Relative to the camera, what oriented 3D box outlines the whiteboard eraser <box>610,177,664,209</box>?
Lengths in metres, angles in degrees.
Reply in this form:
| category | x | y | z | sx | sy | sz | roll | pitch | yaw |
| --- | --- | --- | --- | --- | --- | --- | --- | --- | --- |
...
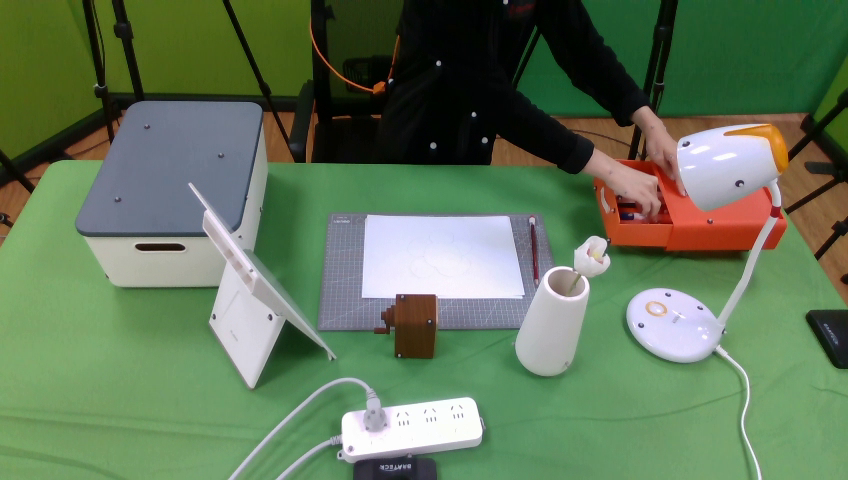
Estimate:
| category | x | y | z | sx | sy | sz | roll | pitch | yaw |
| --- | --- | --- | --- | --- | --- | --- | --- | --- | --- |
| whiteboard eraser | 0.434 | -0.095 | 1.241 | 0.113 | 0.042 | 0.055 | 8 | 48 | -6 |

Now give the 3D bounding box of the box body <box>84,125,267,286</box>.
| category | x | y | z | sx | sy | sz | roll | pitch | yaw |
| --- | --- | --- | --- | --- | --- | --- | --- | --- | --- |
| box body | -0.446 | -0.088 | 1.150 | 0.254 | 0.161 | 0.361 | -1 | 46 | -5 |

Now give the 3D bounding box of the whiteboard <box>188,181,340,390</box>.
| category | x | y | z | sx | sy | sz | roll | pitch | yaw |
| --- | --- | --- | --- | --- | --- | --- | --- | --- | --- |
| whiteboard | -0.292 | 0.096 | 0.929 | 0.144 | 0.307 | 0.216 | -38 | 57 | -10 |

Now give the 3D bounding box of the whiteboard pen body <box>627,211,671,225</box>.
| category | x | y | z | sx | sy | sz | roll | pitch | yaw |
| --- | --- | --- | --- | --- | --- | --- | --- | --- | --- |
| whiteboard pen body | 0.443 | -0.042 | 1.188 | 0.141 | 0.017 | 0.017 | 11 | 39 | -33 |

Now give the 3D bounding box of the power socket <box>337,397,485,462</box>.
| category | x | y | z | sx | sy | sz | roll | pitch | yaw |
| --- | --- | --- | --- | --- | --- | --- | --- | --- | --- |
| power socket | -0.018 | 0.285 | 0.915 | 0.227 | 0.033 | 0.071 | -5 | 46 | -8 |

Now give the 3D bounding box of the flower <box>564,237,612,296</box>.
| category | x | y | z | sx | sy | sz | roll | pitch | yaw |
| --- | --- | --- | --- | --- | --- | --- | --- | --- | --- |
| flower | 0.206 | 0.088 | 0.893 | 0.038 | 0.363 | 0.044 | -16 | 67 | -9 |

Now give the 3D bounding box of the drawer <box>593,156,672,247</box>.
| category | x | y | z | sx | sy | sz | roll | pitch | yaw |
| --- | --- | --- | --- | --- | --- | --- | --- | --- | --- |
| drawer | 0.460 | -0.076 | 1.208 | 0.212 | 0.073 | 0.193 | 3 | 46 | -3 |

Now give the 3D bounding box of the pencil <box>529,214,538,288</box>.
| category | x | y | z | sx | sy | sz | roll | pitch | yaw |
| --- | --- | --- | --- | --- | --- | --- | --- | --- | --- |
| pencil | 0.219 | 0.019 | 1.202 | 0.012 | 0.012 | 0.193 | 5 | 48 | 0 |

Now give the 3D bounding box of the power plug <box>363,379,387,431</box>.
| category | x | y | z | sx | sy | sz | roll | pitch | yaw |
| --- | --- | --- | --- | --- | --- | --- | --- | --- | --- |
| power plug | -0.072 | 0.252 | 0.910 | 0.035 | 0.053 | 0.072 | 3 | 44 | -1 |

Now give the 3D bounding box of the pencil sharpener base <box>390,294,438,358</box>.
| category | x | y | z | sx | sy | sz | roll | pitch | yaw |
| --- | --- | --- | --- | --- | --- | --- | --- | --- | --- |
| pencil sharpener base | -0.018 | 0.143 | 1.000 | 0.077 | 0.107 | 0.061 | 1 | 46 | -2 |

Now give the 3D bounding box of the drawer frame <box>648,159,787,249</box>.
| category | x | y | z | sx | sy | sz | roll | pitch | yaw |
| --- | --- | --- | --- | --- | --- | --- | --- | --- | --- |
| drawer frame | 0.566 | -0.075 | 1.209 | 0.213 | 0.083 | 0.200 | 0 | 45 | 2 |

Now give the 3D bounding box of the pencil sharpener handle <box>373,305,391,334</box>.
| category | x | y | z | sx | sy | sz | roll | pitch | yaw |
| --- | --- | --- | --- | --- | --- | --- | --- | --- | --- |
| pencil sharpener handle | -0.069 | 0.133 | 0.989 | 0.030 | 0.068 | 0.036 | 1 | 47 | -2 |

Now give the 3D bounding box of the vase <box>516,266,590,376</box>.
| category | x | y | z | sx | sy | sz | roll | pitch | yaw |
| --- | --- | --- | --- | --- | --- | --- | --- | --- | --- |
| vase | 0.208 | 0.132 | 0.964 | 0.098 | 0.201 | 0.097 | 3 | 46 | -3 |

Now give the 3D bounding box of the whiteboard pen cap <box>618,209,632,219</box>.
| category | x | y | z | sx | sy | sz | roll | pitch | yaw |
| --- | --- | --- | --- | --- | --- | --- | --- | --- | --- |
| whiteboard pen cap | 0.385 | -0.049 | 1.168 | 0.033 | 0.018 | 0.018 | 8 | 41 | -32 |

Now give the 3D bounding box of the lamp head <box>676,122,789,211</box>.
| category | x | y | z | sx | sy | sz | roll | pitch | yaw |
| --- | --- | --- | --- | --- | --- | --- | --- | --- | --- |
| lamp head | 0.423 | -0.104 | 0.819 | 0.122 | 0.113 | 0.112 | -13 | 33 | 40 |

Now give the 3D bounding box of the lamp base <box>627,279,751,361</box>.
| category | x | y | z | sx | sy | sz | roll | pitch | yaw |
| --- | --- | --- | --- | --- | --- | --- | --- | --- | --- |
| lamp base | 0.459 | 0.100 | 1.027 | 0.178 | 0.181 | 0.160 | 27 | 51 | 17 |

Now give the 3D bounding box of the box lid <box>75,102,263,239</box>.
| category | x | y | z | sx | sy | sz | roll | pitch | yaw |
| --- | --- | --- | --- | --- | --- | --- | --- | --- | --- |
| box lid | -0.443 | -0.138 | 1.094 | 0.263 | 0.015 | 0.369 | -1 | 47 | -5 |
